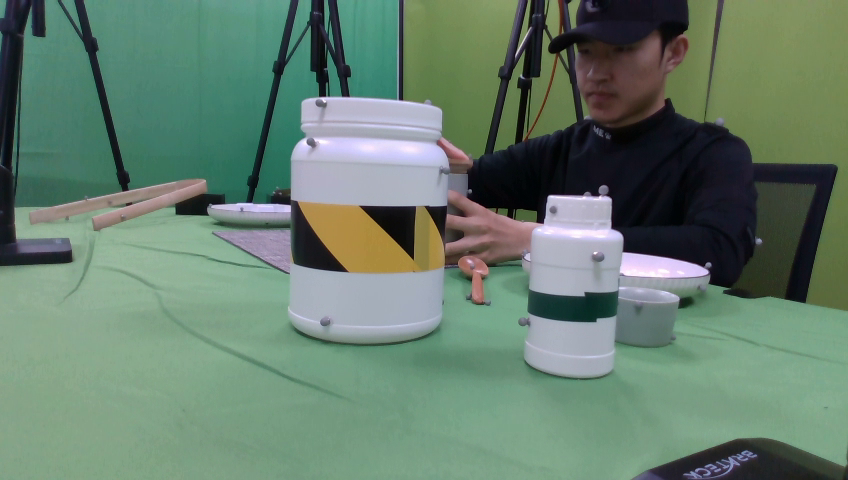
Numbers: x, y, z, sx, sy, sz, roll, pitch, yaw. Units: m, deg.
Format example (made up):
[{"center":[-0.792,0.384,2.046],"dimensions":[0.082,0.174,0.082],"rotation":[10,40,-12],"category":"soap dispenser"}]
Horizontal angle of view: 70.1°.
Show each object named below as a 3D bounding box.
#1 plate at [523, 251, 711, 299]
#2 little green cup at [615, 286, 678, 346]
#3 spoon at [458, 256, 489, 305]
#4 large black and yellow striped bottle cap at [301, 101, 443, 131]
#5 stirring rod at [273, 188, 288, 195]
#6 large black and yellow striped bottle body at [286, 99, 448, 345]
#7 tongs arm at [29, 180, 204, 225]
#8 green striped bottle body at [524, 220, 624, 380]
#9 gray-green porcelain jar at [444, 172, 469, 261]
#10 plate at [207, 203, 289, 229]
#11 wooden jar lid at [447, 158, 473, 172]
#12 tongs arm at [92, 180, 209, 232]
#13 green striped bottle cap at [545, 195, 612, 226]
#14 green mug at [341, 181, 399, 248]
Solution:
[{"center":[0.219,0.042,0.706],"dimensions":[0.209,0.038,0.209],"rotation":[2,7,0],"category":"plate"},{"center":[0.180,0.063,0.505],"dimensions":[0.061,0.038,0.061],"rotation":[-2,7,1],"category":"little green cup"},{"center":[0.059,0.044,0.696],"dimensions":[0.041,0.021,0.194],"rotation":[18,7,1],"category":"spoon"},{"center":[-0.042,-0.100,0.491],"dimensions":[0.115,0.019,0.115],"rotation":[1,8,0],"category":"large black and yellow striped bottle cap"},{"center":[-0.353,-0.122,1.519],"dimensions":[0.006,0.014,0.176],"rotation":[1,6,1],"category":"stirring rod"},{"center":[-0.047,-0.018,0.501],"dimensions":[0.131,0.184,0.130],"rotation":[2,7,0],"category":"large black and yellow striped bottle body"},{"center":[-0.609,-0.083,1.245],"dimensions":[0.050,0.026,0.386],"rotation":[5,16,23],"category":"tongs arm"},{"center":[0.104,0.031,0.422],"dimensions":[0.063,0.119,0.063],"rotation":[2,8,0],"category":"green striped bottle body"},{"center":[0.010,-0.036,0.874],"dimensions":[0.106,0.126,0.106],"rotation":[2,7,0],"category":"gray-green porcelain jar"},{"center":[-0.342,-0.050,1.259],"dimensions":[0.208,0.039,0.207],"rotation":[2,7,0],"category":"plate"},{"center":[0.016,-0.108,0.864],"dimensions":[0.108,0.020,0.108],"rotation":[4,9,0],"category":"wooden jar lid"},{"center":[-0.534,-0.076,1.221],"dimensions":[0.028,0.028,0.388],"rotation":[-2,15,12],"category":"tongs arm"},{"center":[0.106,-0.020,0.414],"dimensions":[0.044,0.020,0.044],"rotation":[2,4,0],"category":"green striped bottle cap"},{"center":[-0.089,-0.044,0.997],"dimensions":[0.093,0.105,0.125],"rotation":[1,7,-8],"category":"green mug"}]
